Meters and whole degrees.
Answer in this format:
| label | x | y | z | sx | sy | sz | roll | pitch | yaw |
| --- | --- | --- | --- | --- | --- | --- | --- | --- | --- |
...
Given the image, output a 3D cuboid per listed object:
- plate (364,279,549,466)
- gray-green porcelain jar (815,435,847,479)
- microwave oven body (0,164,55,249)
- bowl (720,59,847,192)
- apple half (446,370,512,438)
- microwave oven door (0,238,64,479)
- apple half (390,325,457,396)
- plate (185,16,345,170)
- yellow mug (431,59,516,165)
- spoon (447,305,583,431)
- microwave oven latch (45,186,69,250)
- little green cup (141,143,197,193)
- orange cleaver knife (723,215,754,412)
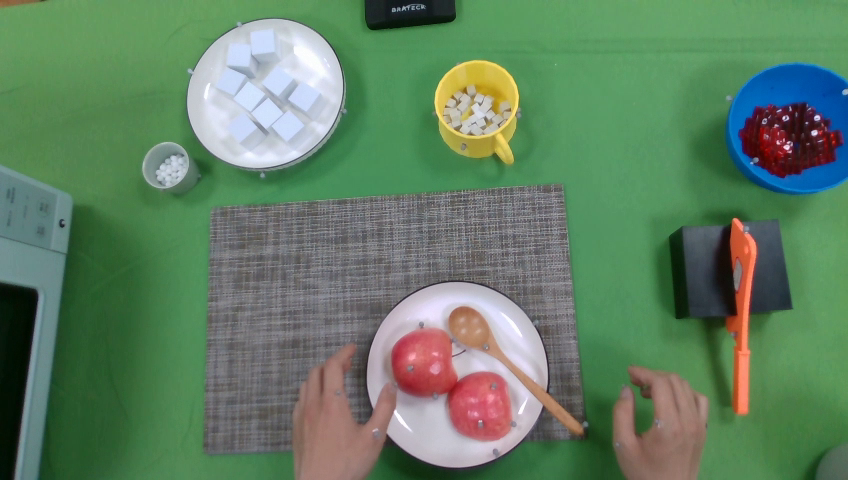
| label | x | y | z | sx | sy | sz | roll | pitch | yaw |
| --- | --- | --- | --- | --- | --- | --- | --- | --- | --- |
| plate | 0.036 | 0.149 | 0.696 | 0.209 | 0.038 | 0.208 | -1 | 80 | 5 |
| gray-green porcelain jar | 0.462 | 0.248 | 0.594 | 0.106 | 0.127 | 0.105 | -1 | 78 | 6 |
| microwave oven body | -0.630 | 0.128 | 0.651 | 0.326 | 0.261 | 0.440 | -1 | 80 | 5 |
| bowl | 0.408 | -0.120 | 0.694 | 0.151 | 0.077 | 0.150 | -1 | 79 | 6 |
| apple half | 0.062 | 0.186 | 0.680 | 0.081 | 0.033 | 0.081 | -1 | 76 | 6 |
| microwave oven door | -0.486 | 0.167 | 0.625 | 0.039 | 0.245 | 0.354 | -1 | 79 | 6 |
| apple half | -0.003 | 0.137 | 0.687 | 0.074 | 0.053 | 0.080 | -7 | 78 | 7 |
| plate | -0.203 | -0.188 | 0.788 | 0.207 | 0.039 | 0.206 | -1 | 79 | 6 |
| yellow mug | 0.069 | -0.148 | 0.740 | 0.100 | 0.064 | 0.130 | -32 | 79 | -2 |
| spoon | 0.099 | 0.143 | 0.678 | 0.041 | 0.022 | 0.192 | -42 | 65 | -14 |
| microwave oven latch | -0.472 | -0.027 | 0.765 | 0.030 | 0.029 | 0.079 | 1 | 80 | 5 |
| little green cup | -0.325 | -0.090 | 0.780 | 0.061 | 0.039 | 0.061 | -1 | 81 | 6 |
| orange cleaver knife | 0.339 | 0.080 | 0.660 | 0.012 | 0.077 | 0.212 | -3 | 102 | 9 |
